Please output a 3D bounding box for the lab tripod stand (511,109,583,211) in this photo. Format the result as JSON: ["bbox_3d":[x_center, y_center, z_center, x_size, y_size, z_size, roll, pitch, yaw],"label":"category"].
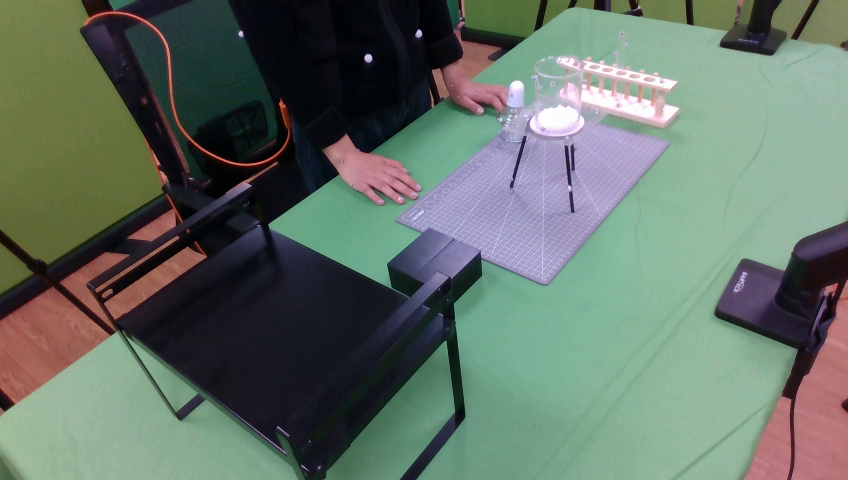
[{"bbox_3d":[0.220,-0.138,1.014,0.148,0.132,0.147,-3,41,3],"label":"lab tripod stand"}]

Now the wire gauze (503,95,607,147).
[{"bbox_3d":[0.211,-0.191,0.976,0.120,0.011,0.125,24,52,32],"label":"wire gauze"}]

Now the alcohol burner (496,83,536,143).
[{"bbox_3d":[0.178,-0.250,1.168,0.078,0.119,0.077,-5,42,5],"label":"alcohol burner"}]

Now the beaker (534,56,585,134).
[{"bbox_3d":[0.209,-0.226,0.942,0.074,0.101,0.083,-2,41,7],"label":"beaker"}]

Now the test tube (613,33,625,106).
[{"bbox_3d":[0.380,-0.330,1.180,0.017,0.151,0.017,-7,41,6],"label":"test tube"}]

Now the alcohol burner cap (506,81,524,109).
[{"bbox_3d":[0.173,-0.277,1.144,0.034,0.048,0.033,0,39,0],"label":"alcohol burner cap"}]

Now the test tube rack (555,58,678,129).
[{"bbox_3d":[0.389,-0.307,1.229,0.240,0.085,0.067,25,50,33],"label":"test tube rack"}]
